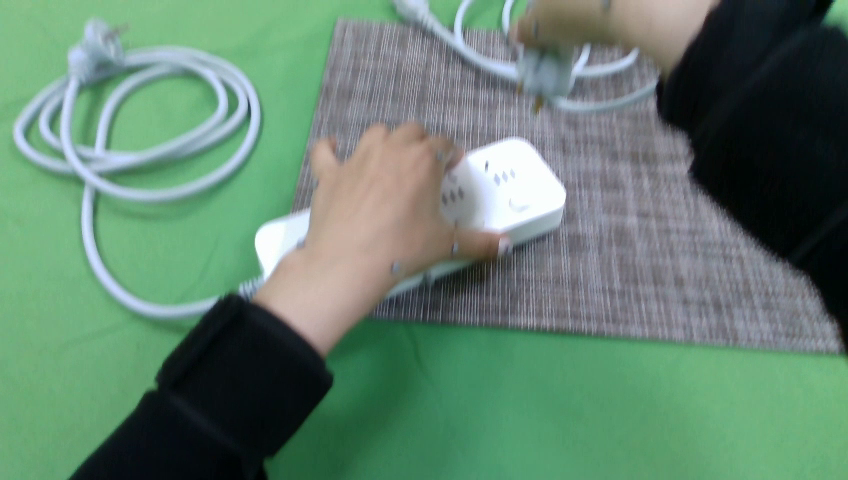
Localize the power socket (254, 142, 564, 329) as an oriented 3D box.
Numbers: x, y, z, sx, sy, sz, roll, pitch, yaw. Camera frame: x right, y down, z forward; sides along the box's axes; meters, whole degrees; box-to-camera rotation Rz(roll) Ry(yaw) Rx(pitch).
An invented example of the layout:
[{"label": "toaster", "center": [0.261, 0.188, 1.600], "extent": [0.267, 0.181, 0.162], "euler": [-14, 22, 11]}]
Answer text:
[{"label": "power socket", "center": [-0.006, -0.008, 0.416], "extent": [0.227, 0.033, 0.071], "euler": [-21, 58, -16]}]

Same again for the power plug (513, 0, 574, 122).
[{"label": "power plug", "center": [0.069, -0.111, 0.371], "extent": [0.035, 0.053, 0.072], "euler": [1, 60, -20]}]
